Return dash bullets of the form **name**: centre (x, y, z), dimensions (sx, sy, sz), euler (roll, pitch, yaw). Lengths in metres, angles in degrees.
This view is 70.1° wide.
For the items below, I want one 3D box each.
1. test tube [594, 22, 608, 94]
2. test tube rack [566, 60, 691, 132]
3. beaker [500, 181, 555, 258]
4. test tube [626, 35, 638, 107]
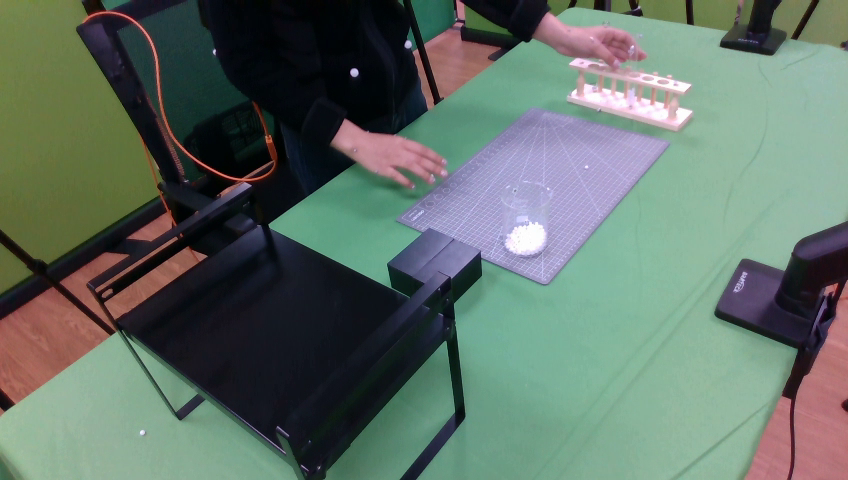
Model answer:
- **test tube**: centre (0.363, -0.370, 1.238), dimensions (0.017, 0.151, 0.017), euler (-4, 39, 4)
- **test tube rack**: centre (0.411, -0.300, 1.217), dimensions (0.240, 0.085, 0.067), euler (26, 51, 33)
- **beaker**: centre (0.158, -0.030, 0.923), dimensions (0.084, 0.100, 0.073), euler (-13, 41, -8)
- **test tube**: centre (0.401, -0.323, 1.169), dimensions (0.017, 0.151, 0.017), euler (-8, 43, 8)
